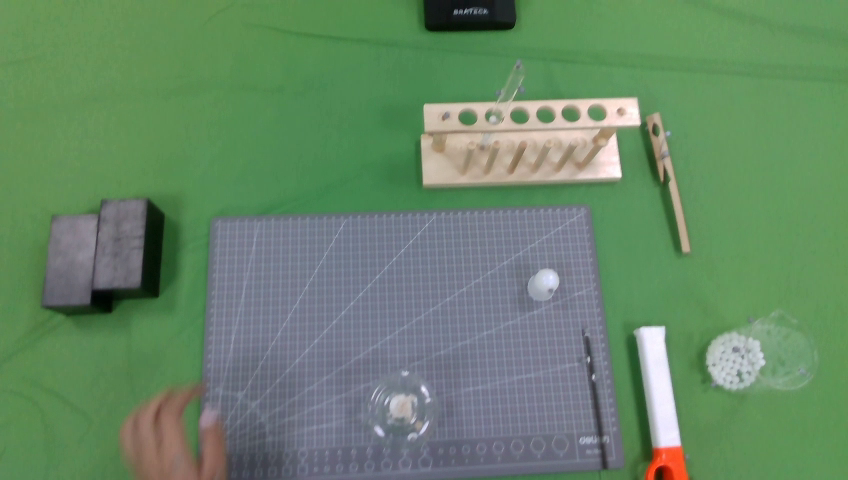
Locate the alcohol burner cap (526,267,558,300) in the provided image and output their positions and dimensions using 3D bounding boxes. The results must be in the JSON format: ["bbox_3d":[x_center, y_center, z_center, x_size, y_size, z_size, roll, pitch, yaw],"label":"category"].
[{"bbox_3d":[0.136,0.047,0.685,0.034,0.048,0.033,1,74,-3],"label":"alcohol burner cap"}]

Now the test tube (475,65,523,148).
[{"bbox_3d":[0.079,-0.142,0.667,0.017,0.151,0.017,3,70,-8],"label":"test tube"}]

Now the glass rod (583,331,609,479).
[{"bbox_3d":[0.189,0.198,0.662,0.008,0.008,0.198,-3,74,-4],"label":"glass rod"}]

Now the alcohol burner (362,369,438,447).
[{"bbox_3d":[-0.024,0.166,0.605,0.078,0.120,0.077,1,71,-2],"label":"alcohol burner"}]

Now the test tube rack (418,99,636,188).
[{"bbox_3d":[0.117,-0.112,0.711,0.242,0.085,0.066,-2,73,-4],"label":"test tube rack"}]

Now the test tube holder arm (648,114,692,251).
[{"bbox_3d":[0.301,-0.072,0.743,0.013,0.015,0.177,-19,73,29],"label":"test tube holder arm"}]

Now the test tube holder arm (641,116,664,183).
[{"bbox_3d":[0.288,-0.113,0.757,0.010,0.015,0.087,-19,73,29],"label":"test tube holder arm"}]

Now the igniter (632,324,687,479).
[{"bbox_3d":[0.258,0.229,0.650,0.057,0.025,0.275,1,74,-13],"label":"igniter"}]

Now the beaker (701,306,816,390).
[{"bbox_3d":[0.352,0.120,0.649,0.074,0.101,0.083,11,72,1],"label":"beaker"}]
